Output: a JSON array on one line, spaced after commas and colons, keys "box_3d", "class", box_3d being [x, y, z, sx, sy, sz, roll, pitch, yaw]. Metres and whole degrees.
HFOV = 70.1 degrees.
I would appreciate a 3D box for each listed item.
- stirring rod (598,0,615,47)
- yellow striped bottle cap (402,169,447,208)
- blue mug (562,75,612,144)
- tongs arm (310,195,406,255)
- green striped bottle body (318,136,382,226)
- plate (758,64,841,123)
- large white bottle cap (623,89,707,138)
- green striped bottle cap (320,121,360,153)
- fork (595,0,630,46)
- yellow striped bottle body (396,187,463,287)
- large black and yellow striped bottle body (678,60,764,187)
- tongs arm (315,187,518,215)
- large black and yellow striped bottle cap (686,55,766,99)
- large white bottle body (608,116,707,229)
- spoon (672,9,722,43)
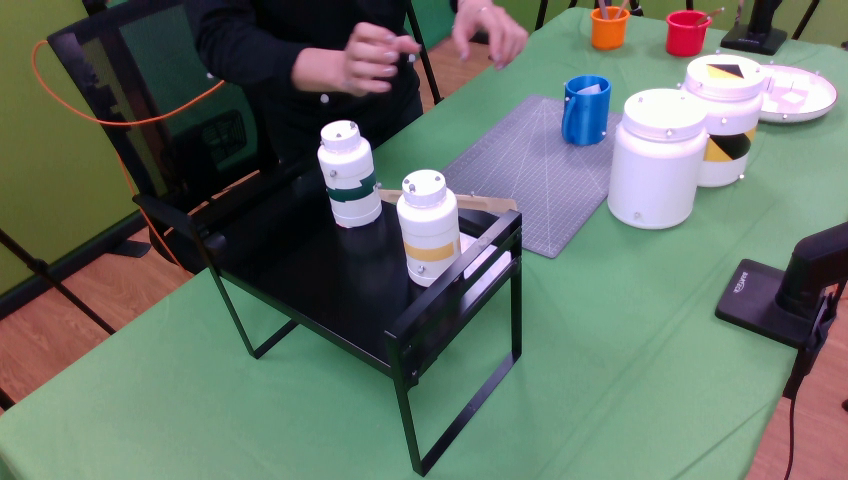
[{"box_3d": [0.437, -0.551, 1.462, 0.014, 0.006, 0.175, -11, 83, 1], "class": "stirring rod"}, {"box_3d": [0.000, -0.052, 0.604, 0.044, 0.019, 0.044, -5, 43, 5], "class": "yellow striped bottle cap"}, {"box_3d": [0.298, -0.239, 1.143, 0.117, 0.106, 0.081, -37, 48, -29], "class": "blue mug"}, {"box_3d": [-0.078, -0.013, 0.944, 0.028, 0.028, 0.384, -42, 39, -23], "class": "tongs arm"}, {"box_3d": [-0.091, -0.080, 0.733, 0.063, 0.120, 0.063, -4, 41, 4], "class": "green striped bottle body"}, {"box_3d": [0.694, -0.283, 1.189, 0.207, 0.039, 0.206, -4, 40, 4], "class": "plate"}, {"box_3d": [0.352, -0.187, 0.886, 0.115, 0.018, 0.114, -4, 41, 4], "class": "large white bottle cap"}, {"box_3d": [-0.097, -0.120, 0.699, 0.044, 0.020, 0.044, -4, 39, 4], "class": "green striped bottle cap"}, {"box_3d": [0.480, -0.556, 1.453, 0.028, 0.019, 0.207, 41, 103, 40], "class": "fork"}, {"box_3d": [0.006, -0.013, 0.638, 0.063, 0.121, 0.062, -5, 41, 4], "class": "yellow striped bottle body"}, {"box_3d": [0.482, -0.196, 1.007, 0.131, 0.185, 0.130, -4, 41, 4], "class": "large black and yellow striped bottle body"}, {"box_3d": [-0.028, -0.060, 0.988, 0.381, 0.027, 0.051, 10, 44, 36], "class": "tongs arm"}, {"box_3d": [0.474, -0.258, 0.952, 0.115, 0.019, 0.114, -5, 41, 5], "class": "large black and yellow striped bottle cap"}, {"box_3d": [0.361, -0.123, 0.942, 0.130, 0.185, 0.130, -4, 41, 4], "class": "large white bottle body"}, {"box_3d": [0.606, -0.476, 1.345, 0.042, 0.021, 0.193, -6, -3, -2], "class": "spoon"}]
